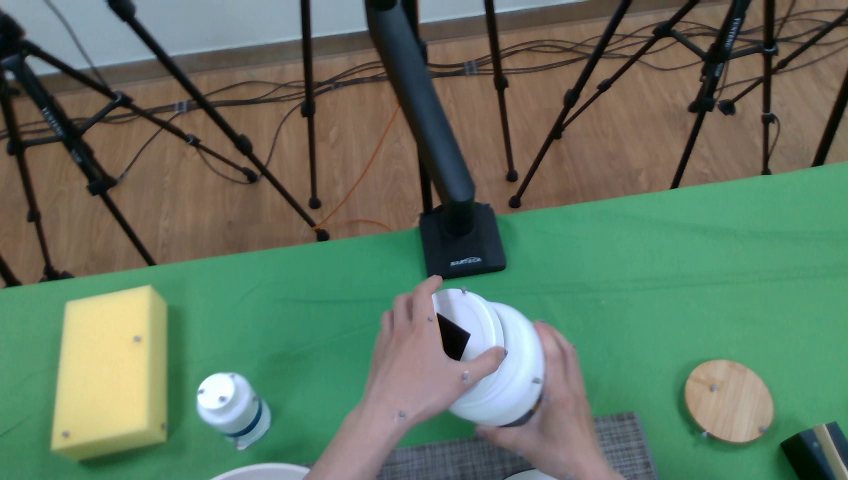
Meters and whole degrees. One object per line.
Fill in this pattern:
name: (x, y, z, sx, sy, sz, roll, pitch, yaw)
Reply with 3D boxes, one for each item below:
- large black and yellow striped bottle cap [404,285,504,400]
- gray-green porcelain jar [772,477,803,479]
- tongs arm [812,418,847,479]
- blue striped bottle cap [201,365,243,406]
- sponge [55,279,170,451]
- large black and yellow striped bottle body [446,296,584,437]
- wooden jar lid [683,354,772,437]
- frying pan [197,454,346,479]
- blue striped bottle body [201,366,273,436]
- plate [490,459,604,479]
large black and yellow striped bottle cap: (0.028, 0.102, 0.608, 0.114, 0.019, 0.114, -13, 69, 38)
gray-green porcelain jar: (0.373, 0.319, 0.644, 0.106, 0.127, 0.105, -1, 58, 2)
tongs arm: (0.515, 0.371, 0.625, 0.051, 0.027, 0.381, -12, 69, -7)
blue striped bottle cap: (-0.236, 0.169, 0.707, 0.044, 0.021, 0.044, -1, 60, 2)
sponge: (-0.412, 0.164, 0.813, 0.118, 0.061, 0.204, -12, 59, -5)
large black and yellow striped bottle body: (0.090, 0.143, 0.689, 0.130, 0.186, 0.129, -17, 56, 28)
wooden jar lid: (0.388, 0.200, 0.779, 0.108, 0.021, 0.107, -1, 60, 2)
frying pan: (-0.159, 0.465, 0.589, 0.307, 0.104, 0.482, -10, 50, -1)
blue striped bottle body: (-0.233, 0.197, 0.750, 0.063, 0.122, 0.062, -1, 58, 3)
plate: (0.143, 0.355, 0.680, 0.209, 0.038, 0.207, -1, 59, 2)
